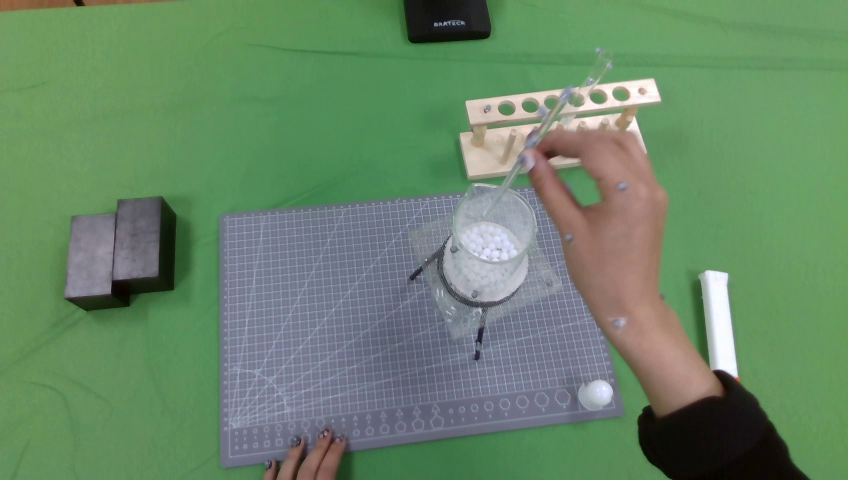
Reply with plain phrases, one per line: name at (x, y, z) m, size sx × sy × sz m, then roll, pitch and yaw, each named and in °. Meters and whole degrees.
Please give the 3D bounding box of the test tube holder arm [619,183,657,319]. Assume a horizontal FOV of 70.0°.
test tube holder arm at (0.266, 0.012, 0.758) m, size 0.013 × 0.015 × 0.177 m, roll -18°, pitch 68°, yaw 26°

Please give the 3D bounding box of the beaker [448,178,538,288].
beaker at (0.058, -0.002, 0.566) m, size 0.074 × 0.101 × 0.083 m, roll -20°, pitch 71°, yaw -8°

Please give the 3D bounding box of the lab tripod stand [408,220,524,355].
lab tripod stand at (0.050, 0.044, 0.671) m, size 0.148 × 0.132 × 0.147 m, roll 0°, pitch 70°, yaw -1°

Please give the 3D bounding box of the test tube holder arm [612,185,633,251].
test tube holder arm at (0.256, -0.029, 0.776) m, size 0.010 × 0.015 × 0.087 m, roll -18°, pitch 68°, yaw 26°

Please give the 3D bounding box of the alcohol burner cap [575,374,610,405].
alcohol burner cap at (0.192, 0.165, 0.681) m, size 0.034 × 0.048 × 0.033 m, roll 1°, pitch 68°, yaw -2°

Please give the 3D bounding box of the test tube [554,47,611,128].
test tube at (0.190, -0.181, 0.740) m, size 0.017 × 0.151 × 0.017 m, roll 3°, pitch 67°, yaw -8°

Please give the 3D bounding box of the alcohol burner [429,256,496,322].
alcohol burner at (0.044, 0.049, 0.679) m, size 0.078 × 0.120 × 0.077 m, roll 1°, pitch 67°, yaw -2°

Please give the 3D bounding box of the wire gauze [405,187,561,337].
wire gauze at (0.058, 0.017, 0.610) m, size 0.121 × 0.011 × 0.124 m, roll -22°, pitch 73°, yaw -8°

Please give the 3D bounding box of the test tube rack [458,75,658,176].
test tube rack at (0.171, -0.146, 0.779) m, size 0.243 × 0.085 × 0.066 m, roll -8°, pitch 69°, yaw -6°

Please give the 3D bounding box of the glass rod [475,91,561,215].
glass rod at (0.061, -0.054, 0.439) m, size 0.008 × 0.200 × 0.008 m, roll 3°, pitch 73°, yaw -8°

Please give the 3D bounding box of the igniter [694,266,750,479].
igniter at (0.343, 0.162, 0.702) m, size 0.057 × 0.025 × 0.274 m, roll 8°, pitch 69°, yaw -10°
